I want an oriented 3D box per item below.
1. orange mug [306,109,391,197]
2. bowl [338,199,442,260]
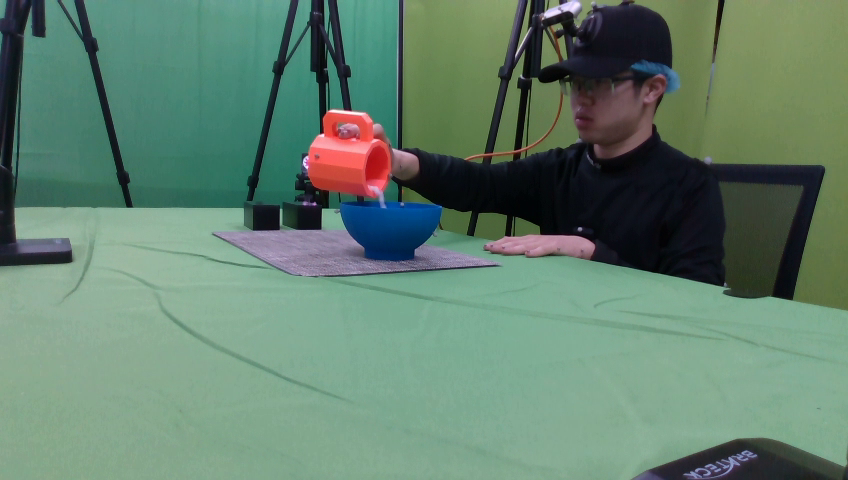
[{"bbox_3d":[-0.111,-0.130,0.896,0.100,0.126,0.084,14,27,22],"label":"orange mug"},{"bbox_3d":[-0.050,-0.015,0.878,0.151,0.077,0.151,2,8,0],"label":"bowl"}]
